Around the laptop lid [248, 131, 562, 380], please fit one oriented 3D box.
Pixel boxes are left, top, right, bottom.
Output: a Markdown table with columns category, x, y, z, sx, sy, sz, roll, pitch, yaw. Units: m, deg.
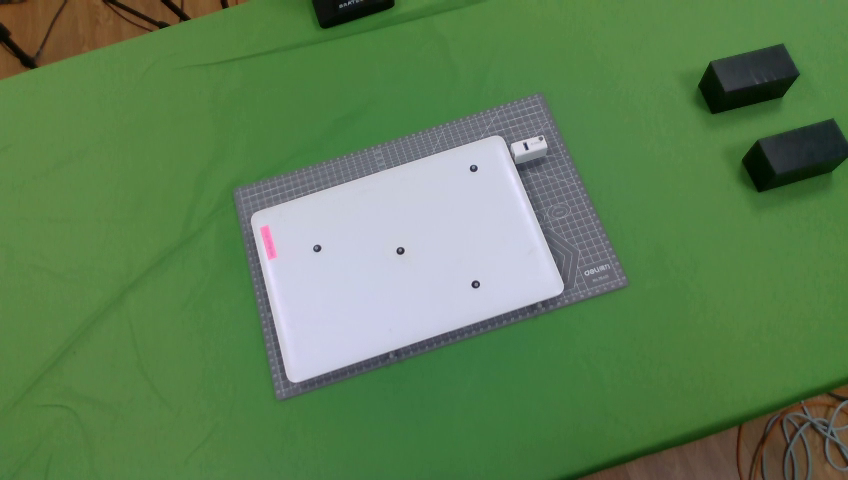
| category | x | y | z | sx | sy | sz | roll | pitch | yaw |
| --- | --- | --- | --- | --- | --- | --- | --- | --- | --- |
| laptop lid | -0.032 | 0.011 | 0.762 | 0.357 | 0.013 | 0.240 | -17 | 71 | -1 |

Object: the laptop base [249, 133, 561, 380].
| category | x | y | z | sx | sy | sz | roll | pitch | yaw |
| --- | --- | --- | --- | --- | --- | --- | --- | --- | --- |
| laptop base | -0.031 | 0.013 | 0.773 | 0.354 | 0.023 | 0.234 | -19 | 72 | -2 |

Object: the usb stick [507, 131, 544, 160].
| category | x | y | z | sx | sy | sz | roll | pitch | yaw |
| --- | --- | --- | --- | --- | --- | --- | --- | --- | --- |
| usb stick | 0.127 | -0.122 | 0.797 | 0.059 | 0.027 | 0.021 | -17 | 69 | 1 |
